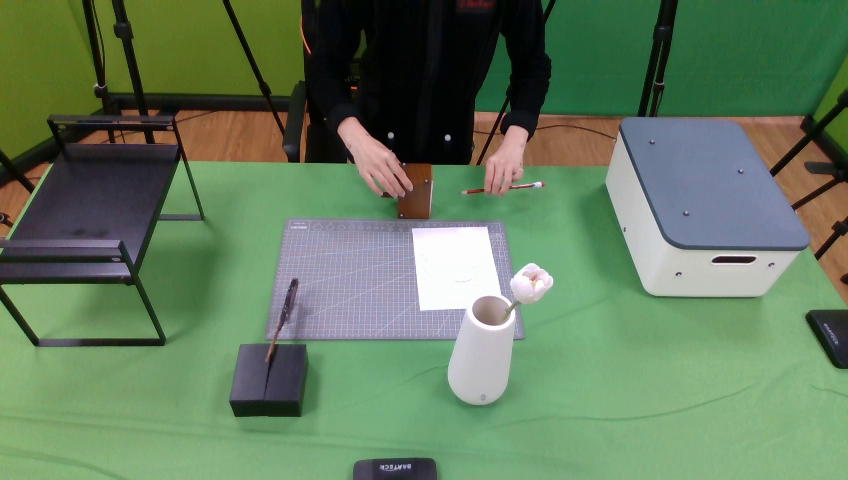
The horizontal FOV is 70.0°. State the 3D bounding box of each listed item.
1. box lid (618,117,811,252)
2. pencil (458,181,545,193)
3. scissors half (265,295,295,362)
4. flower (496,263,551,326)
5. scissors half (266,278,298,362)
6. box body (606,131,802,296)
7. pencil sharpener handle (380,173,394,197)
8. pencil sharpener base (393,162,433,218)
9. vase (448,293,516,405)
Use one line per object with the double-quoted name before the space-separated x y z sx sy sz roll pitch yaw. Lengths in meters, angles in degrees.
"box lid" 0.534 -0.117 1.148 0.263 0.015 0.369 0 47 -3
"pencil" 0.162 -0.109 1.252 0.194 0.012 0.012 -7 47 -15
"scissors half" -0.239 0.143 1.005 0.013 0.040 0.174 17 28 -6
"flower" 0.102 0.120 0.853 0.044 0.363 0.038 -2 64 -10
"scissors half" -0.234 0.127 0.993 0.013 0.040 0.174 12 46 -4
"box body" 0.530 -0.067 1.204 0.254 0.161 0.361 0 46 -4
"pencil sharpener handle" -0.075 -0.111 1.222 0.031 0.068 0.036 1 53 -3
"pencil sharpener base" -0.024 -0.101 1.233 0.077 0.107 0.061 1 47 -3
"vase" 0.091 0.169 0.921 0.098 0.201 0.097 3 47 -3
